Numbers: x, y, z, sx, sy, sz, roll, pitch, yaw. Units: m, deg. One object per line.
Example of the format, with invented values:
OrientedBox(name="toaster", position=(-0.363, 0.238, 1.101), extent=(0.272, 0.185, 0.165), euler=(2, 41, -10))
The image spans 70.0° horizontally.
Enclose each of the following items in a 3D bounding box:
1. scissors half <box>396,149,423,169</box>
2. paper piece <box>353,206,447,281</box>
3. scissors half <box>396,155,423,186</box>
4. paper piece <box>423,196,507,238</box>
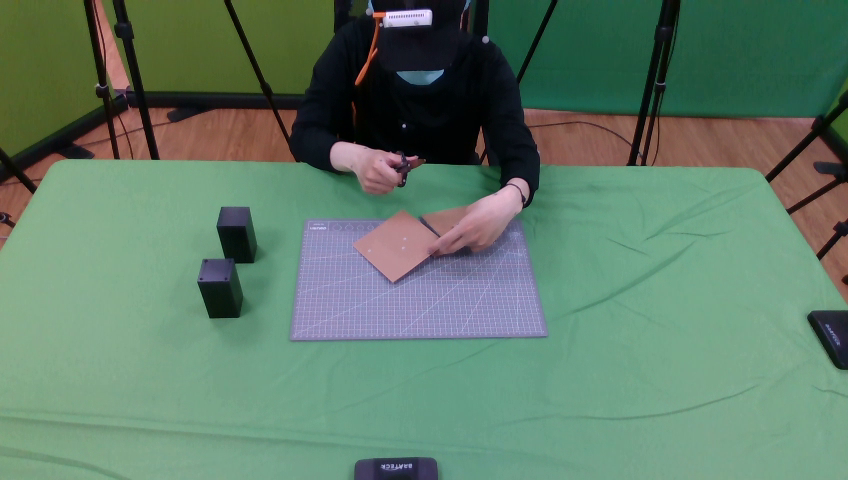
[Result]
OrientedBox(name="scissors half", position=(-0.028, -0.155, 1.152), extent=(0.013, 0.040, 0.174), euler=(-4, 7, -17))
OrientedBox(name="paper piece", position=(-0.048, 0.003, 1.173), extent=(0.135, 0.004, 0.134), euler=(-36, 55, -20))
OrientedBox(name="scissors half", position=(-0.028, -0.136, 1.151), extent=(0.013, 0.175, 0.040), euler=(2, 80, -16))
OrientedBox(name="paper piece", position=(0.081, -0.045, 1.218), extent=(0.138, 0.009, 0.135), euler=(1, 40, -25))
